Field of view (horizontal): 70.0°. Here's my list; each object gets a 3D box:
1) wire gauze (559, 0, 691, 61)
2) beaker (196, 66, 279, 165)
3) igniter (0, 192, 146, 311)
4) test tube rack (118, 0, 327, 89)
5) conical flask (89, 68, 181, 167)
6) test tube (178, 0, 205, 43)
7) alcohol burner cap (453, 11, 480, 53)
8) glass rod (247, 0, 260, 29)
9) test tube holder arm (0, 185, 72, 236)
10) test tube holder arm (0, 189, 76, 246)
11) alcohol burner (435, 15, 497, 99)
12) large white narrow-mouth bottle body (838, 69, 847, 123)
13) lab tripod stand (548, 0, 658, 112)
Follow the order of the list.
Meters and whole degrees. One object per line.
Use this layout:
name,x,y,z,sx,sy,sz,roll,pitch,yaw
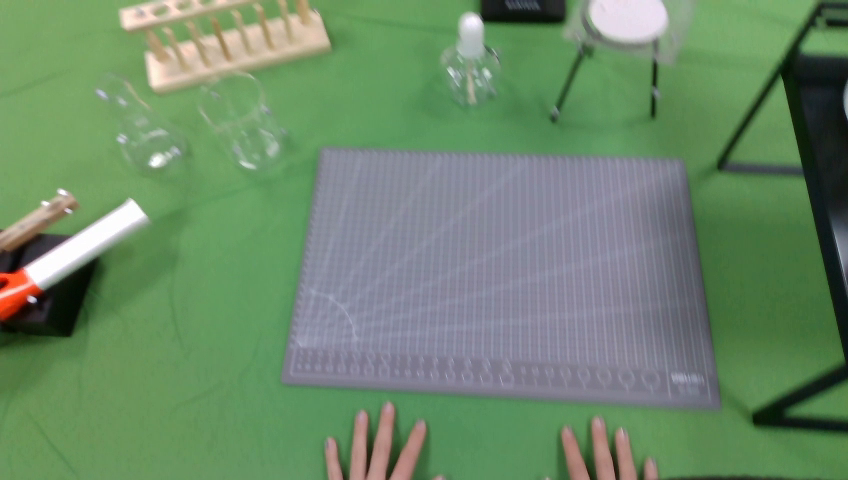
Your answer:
wire gauze,0.227,-0.257,0.672,0.121,0.011,0.124,23,67,10
beaker,-0.219,-0.141,0.721,0.074,0.101,0.083,16,66,10
igniter,-0.420,0.040,0.625,0.276,0.025,0.057,-39,71,-19
test tube rack,-0.259,-0.282,0.799,0.242,0.086,0.066,-17,64,-7
conical flask,-0.345,-0.148,0.715,0.075,0.123,0.074,-1,63,2
test tube,-0.302,-0.307,0.758,0.017,0.151,0.017,1,61,-2
alcohol burner cap,0.051,-0.250,0.720,0.034,0.048,0.033,0,62,1
glass rod,-0.236,-0.343,0.754,0.008,0.201,0.008,-4,57,6
test tube holder arm,-0.462,-0.001,0.650,0.178,0.015,0.013,-39,70,-17
test tube holder arm,-0.424,-0.024,0.661,0.088,0.015,0.010,-38,69,-16
alcohol burner,0.053,-0.233,0.752,0.078,0.120,0.077,0,62,0
large white narrow-mouth bottle body,0.416,-0.158,0.459,0.102,0.196,0.101,0,65,1
lab tripod stand,0.222,-0.225,0.732,0.148,0.132,0.147,0,63,0
